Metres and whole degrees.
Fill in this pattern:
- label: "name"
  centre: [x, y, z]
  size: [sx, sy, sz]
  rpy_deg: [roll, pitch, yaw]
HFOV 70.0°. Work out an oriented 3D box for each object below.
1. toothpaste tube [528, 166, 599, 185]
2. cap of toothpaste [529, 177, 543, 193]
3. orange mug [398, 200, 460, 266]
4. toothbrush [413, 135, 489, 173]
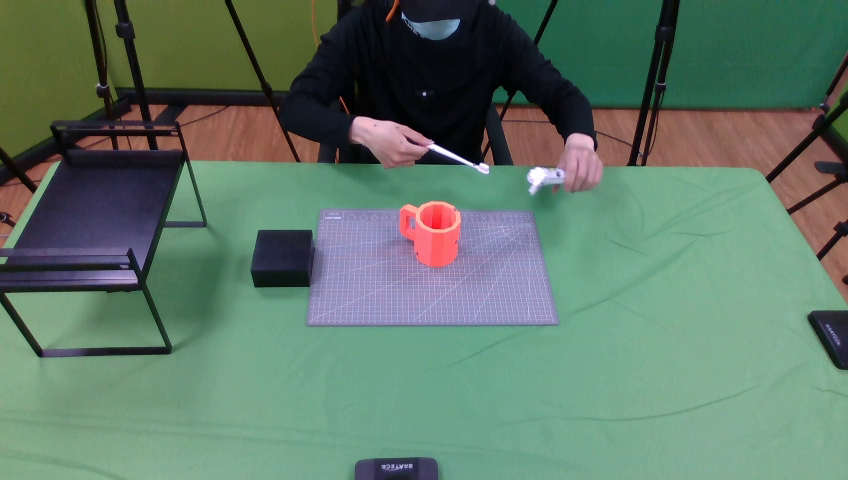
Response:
- label: "toothpaste tube"
  centre: [0.266, -0.125, 1.173]
  size: [0.165, 0.034, 0.054]
  rpy_deg: [-5, 28, -34]
- label: "cap of toothpaste"
  centre: [0.205, -0.102, 1.112]
  size: [0.011, 0.037, 0.037]
  rpy_deg: [38, 53, 9]
- label: "orange mug"
  centre: [0.007, -0.020, 1.161]
  size: [0.126, 0.101, 0.083]
  rpy_deg: [27, 50, 15]
- label: "toothbrush"
  centre: [0.053, -0.177, 1.228]
  size: [0.181, 0.017, 0.014]
  rpy_deg: [28, 56, 22]
